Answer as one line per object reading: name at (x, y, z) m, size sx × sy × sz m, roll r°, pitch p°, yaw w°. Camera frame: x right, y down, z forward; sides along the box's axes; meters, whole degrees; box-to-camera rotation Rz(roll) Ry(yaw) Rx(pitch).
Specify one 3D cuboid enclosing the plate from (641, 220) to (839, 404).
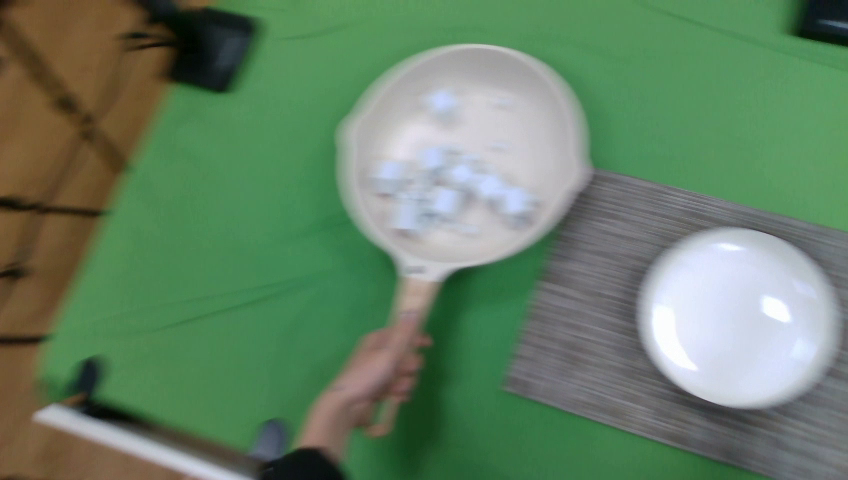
plate at (0.354, 0.081, 0.695) m, size 0.207 × 0.039 × 0.206 m, roll -2°, pitch 77°, yaw 8°

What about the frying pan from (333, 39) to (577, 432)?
frying pan at (0.008, -0.014, 0.734) m, size 0.306 × 0.103 × 0.485 m, roll 13°, pitch 71°, yaw 12°
